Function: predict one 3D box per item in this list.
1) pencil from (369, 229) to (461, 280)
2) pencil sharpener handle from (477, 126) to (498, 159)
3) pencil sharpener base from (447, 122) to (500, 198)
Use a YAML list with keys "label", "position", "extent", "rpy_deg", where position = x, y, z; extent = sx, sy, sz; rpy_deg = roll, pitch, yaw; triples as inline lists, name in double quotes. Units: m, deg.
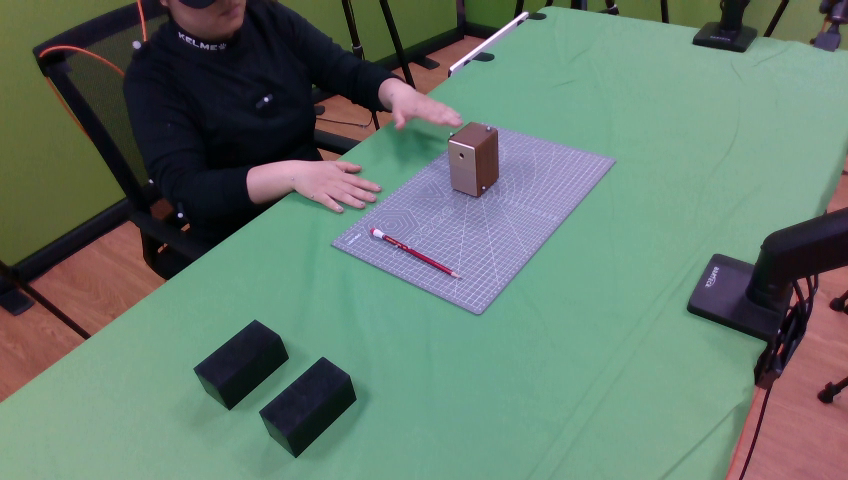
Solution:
- label: "pencil"
  position: [-0.016, 0.022, 0.952]
  extent: [0.192, 0.012, 0.012]
  rpy_deg: [27, 51, 33]
- label: "pencil sharpener handle"
  position: [0.119, -0.178, 1.073]
  extent: [0.035, 0.068, 0.031]
  rpy_deg: [22, 48, 31]
- label: "pencil sharpener base"
  position: [0.089, -0.140, 1.052]
  extent: [0.061, 0.107, 0.077]
  rpy_deg: [22, 48, 31]
